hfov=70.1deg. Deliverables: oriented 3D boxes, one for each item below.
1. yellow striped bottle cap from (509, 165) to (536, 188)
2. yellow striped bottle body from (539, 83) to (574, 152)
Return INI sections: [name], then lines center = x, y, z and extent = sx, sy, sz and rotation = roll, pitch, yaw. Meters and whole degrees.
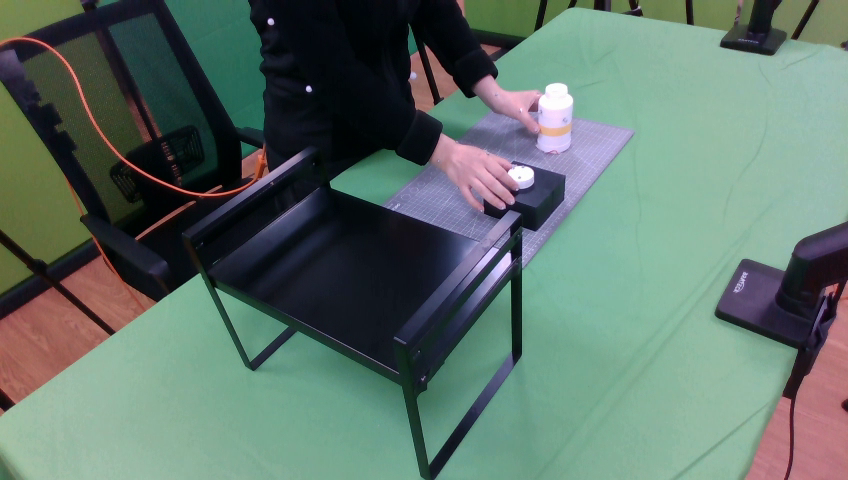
[yellow striped bottle cap]
center = 0.162, -0.105, 0.998
extent = 0.044, 0.019, 0.044
rotation = -6, 40, 5
[yellow striped bottle body]
center = 0.246, -0.230, 1.126
extent = 0.063, 0.121, 0.062
rotation = -5, 41, 5
